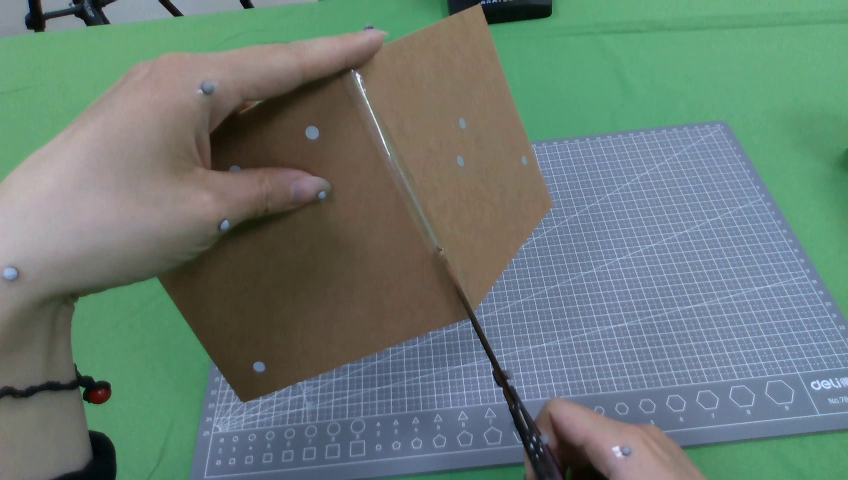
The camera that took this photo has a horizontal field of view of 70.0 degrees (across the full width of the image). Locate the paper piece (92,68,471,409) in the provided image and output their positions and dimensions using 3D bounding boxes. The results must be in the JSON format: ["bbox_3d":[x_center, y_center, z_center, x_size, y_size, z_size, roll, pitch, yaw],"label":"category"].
[{"bbox_3d":[-0.068,0.008,0.296,0.138,0.136,0.008,-24,15,11],"label":"paper piece"}]

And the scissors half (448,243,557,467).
[{"bbox_3d":[0.045,0.076,0.319,0.013,0.176,0.039,-22,24,4],"label":"scissors half"}]

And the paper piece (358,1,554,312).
[{"bbox_3d":[0.030,-0.053,0.330,0.004,0.136,0.135,-10,22,37],"label":"paper piece"}]

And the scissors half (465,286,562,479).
[{"bbox_3d":[0.046,0.080,0.297,0.013,0.040,0.175,-23,86,-1],"label":"scissors half"}]
